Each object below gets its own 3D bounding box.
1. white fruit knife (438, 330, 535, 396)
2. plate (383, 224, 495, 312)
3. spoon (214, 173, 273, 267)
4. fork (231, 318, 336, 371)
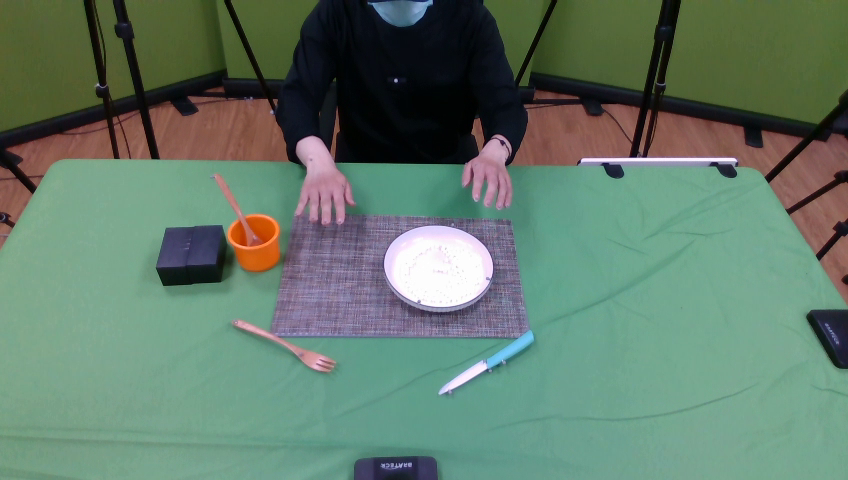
[{"bbox_3d":[0.108,0.206,1.009,0.207,0.016,0.027,-27,30,-22],"label":"white fruit knife"},{"bbox_3d":[0.026,0.055,1.128,0.209,0.038,0.208,2,46,-2],"label":"plate"},{"bbox_3d":[-0.336,-0.037,1.121,0.041,0.194,0.021,-29,10,-25],"label":"spoon"},{"bbox_3d":[-0.239,0.173,1.014,0.207,0.019,0.028,23,54,15],"label":"fork"}]
